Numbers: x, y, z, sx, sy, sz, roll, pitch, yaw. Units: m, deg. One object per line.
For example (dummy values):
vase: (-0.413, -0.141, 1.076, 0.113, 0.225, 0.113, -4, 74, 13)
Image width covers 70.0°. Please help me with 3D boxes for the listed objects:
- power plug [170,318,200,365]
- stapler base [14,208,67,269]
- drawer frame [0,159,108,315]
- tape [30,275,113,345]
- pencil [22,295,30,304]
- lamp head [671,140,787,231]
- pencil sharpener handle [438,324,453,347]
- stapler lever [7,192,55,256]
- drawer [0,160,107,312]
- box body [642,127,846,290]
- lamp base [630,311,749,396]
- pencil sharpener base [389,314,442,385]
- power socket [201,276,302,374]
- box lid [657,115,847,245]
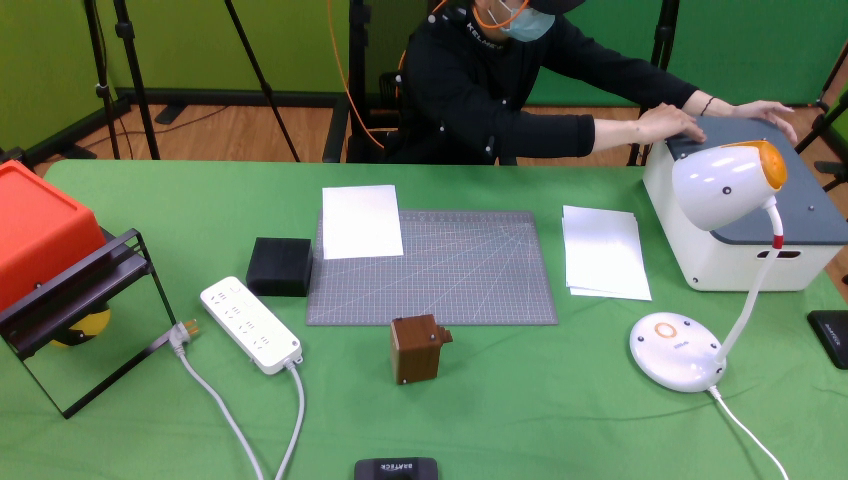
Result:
power plug: (-0.392, 0.167, 1.014, 0.052, 0.035, 0.072, -30, 91, -24)
stapler base: (-0.577, -0.010, 0.903, 0.041, 0.024, 0.130, -30, 57, -25)
drawer frame: (-0.611, 0.000, 0.863, 0.201, 0.083, 0.213, 27, 51, 20)
tape: (-0.594, 0.117, 1.021, 0.117, 0.053, 0.116, 3, 46, -2)
pencil: (-0.591, 0.011, 0.883, 0.012, 0.012, 0.193, -17, 61, -20)
lamp head: (0.415, -0.078, 0.811, 0.113, 0.123, 0.112, 12, 70, -37)
pencil sharpener handle: (0.036, 0.155, 0.975, 0.031, 0.068, 0.036, -8, 69, -11)
stapler lever: (-0.575, -0.026, 0.885, 0.027, 0.040, 0.117, -31, 56, -25)
drawer: (-0.610, -0.001, 0.866, 0.194, 0.073, 0.211, 29, 52, 21)
box body: (0.618, -0.075, 1.217, 0.254, 0.161, 0.361, 0, 46, -3)
lamp base: (0.447, 0.143, 0.983, 0.161, 0.181, 0.178, -24, 55, -24)
pencil sharpener base: (-0.013, 0.175, 0.971, 0.077, 0.107, 0.061, -8, 47, -11)
power socket: (-0.297, 0.141, 1.034, 0.072, 0.033, 0.225, -34, 58, -30)
box lid: (0.622, -0.128, 1.165, 0.263, 0.015, 0.369, 1, 46, -4)
